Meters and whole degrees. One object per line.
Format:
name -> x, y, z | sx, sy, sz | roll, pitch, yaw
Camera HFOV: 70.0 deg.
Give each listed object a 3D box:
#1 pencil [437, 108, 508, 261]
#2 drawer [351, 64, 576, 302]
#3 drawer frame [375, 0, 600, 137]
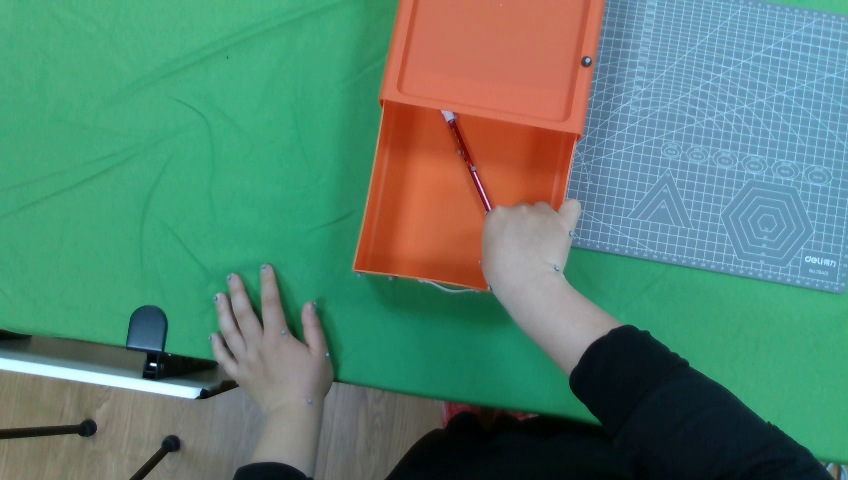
pencil -> 0.050, -0.067, 0.637 | 0.012, 0.012, 0.194 | -23, 90, 0
drawer -> 0.043, -0.054, 0.611 | 0.194, 0.073, 0.211 | 9, 88, 3
drawer frame -> 0.069, -0.216, 0.617 | 0.201, 0.083, 0.213 | 9, 86, 3
